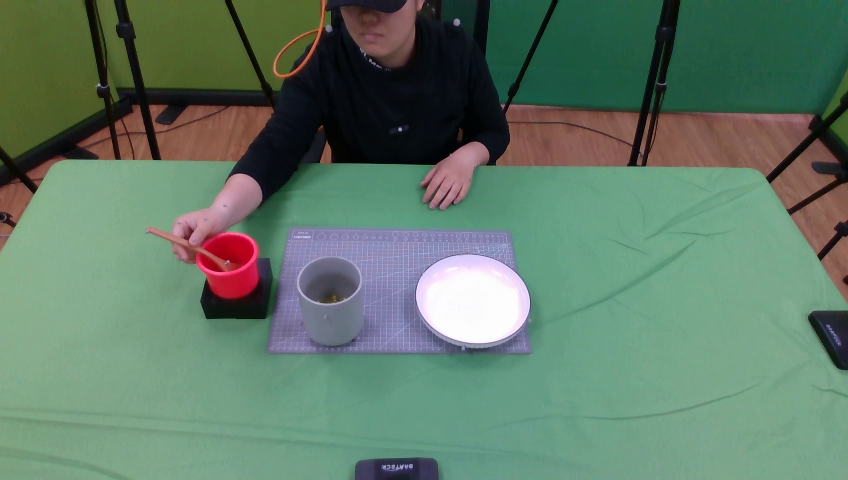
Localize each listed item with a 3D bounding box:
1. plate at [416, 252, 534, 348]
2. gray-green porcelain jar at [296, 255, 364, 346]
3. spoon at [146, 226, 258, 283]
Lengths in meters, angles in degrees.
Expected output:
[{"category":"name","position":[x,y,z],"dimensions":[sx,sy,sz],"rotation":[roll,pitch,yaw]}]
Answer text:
[{"category":"plate","position":[0.090,0.109,1.084],"dimensions":[0.208,0.039,0.206],"rotation":[2,46,-2]},{"category":"gray-green porcelain jar","position":[-0.154,0.106,1.008],"dimensions":[0.106,0.127,0.105],"rotation":[2,46,-2]},{"category":"spoon","position":[-0.361,0.022,0.996],"dimensions":[0.195,0.021,0.041],"rotation":[35,29,-32]}]
